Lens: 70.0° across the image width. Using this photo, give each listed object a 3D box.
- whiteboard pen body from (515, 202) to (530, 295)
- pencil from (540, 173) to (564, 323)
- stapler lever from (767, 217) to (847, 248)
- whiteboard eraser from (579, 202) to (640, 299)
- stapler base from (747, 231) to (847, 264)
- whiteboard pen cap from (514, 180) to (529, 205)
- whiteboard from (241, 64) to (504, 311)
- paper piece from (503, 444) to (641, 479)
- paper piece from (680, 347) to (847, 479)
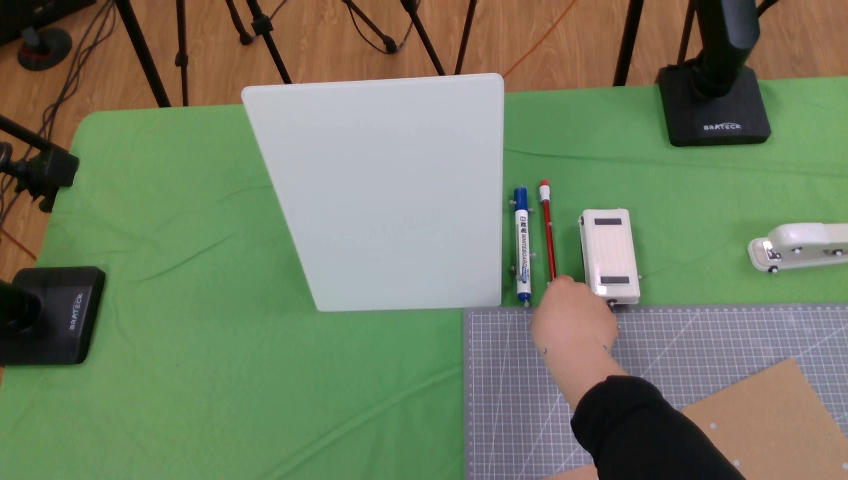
[{"bbox_3d":[0.117,-0.002,0.721,0.017,0.017,0.139,0,65,6],"label":"whiteboard pen body"},{"bbox_3d":[0.152,0.005,0.717,0.012,0.012,0.192,-4,66,4],"label":"pencil"},{"bbox_3d":[0.439,-0.010,0.666,0.118,0.040,0.026,-7,68,2],"label":"stapler lever"},{"bbox_3d":[0.210,0.012,0.693,0.055,0.042,0.112,-2,66,5],"label":"whiteboard eraser"},{"bbox_3d":[0.439,0.000,0.687,0.130,0.024,0.041,-6,68,0],"label":"stapler base"},{"bbox_3d":[0.120,-0.056,0.743,0.018,0.018,0.033,-2,64,5],"label":"whiteboard pen cap"},{"bbox_3d":[-0.028,-0.076,0.642,0.217,0.308,0.142,-1,46,5],"label":"whiteboard"},{"bbox_3d":[0.161,0.284,0.591,0.135,0.004,0.134,-15,66,-2],"label":"paper piece"},{"bbox_3d":[0.354,0.197,0.613,0.136,0.009,0.137,-23,68,-1],"label":"paper piece"}]
